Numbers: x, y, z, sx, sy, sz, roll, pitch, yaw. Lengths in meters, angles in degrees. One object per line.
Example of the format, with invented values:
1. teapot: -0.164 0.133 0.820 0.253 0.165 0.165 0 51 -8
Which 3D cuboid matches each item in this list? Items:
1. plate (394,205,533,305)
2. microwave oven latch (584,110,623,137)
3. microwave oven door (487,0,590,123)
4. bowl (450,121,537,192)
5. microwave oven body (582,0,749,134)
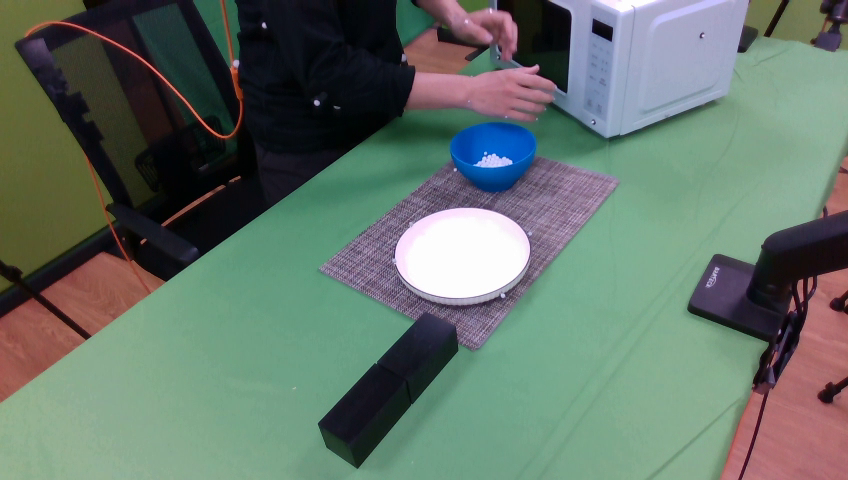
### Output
1. plate: 0.059 0.025 0.915 0.207 0.039 0.206 -4 41 4
2. microwave oven latch: 0.337 -0.222 1.142 0.030 0.029 0.078 -21 42 -15
3. microwave oven door: 0.232 -0.420 1.231 0.039 0.245 0.352 -22 43 -16
4. bowl: 0.123 -0.138 1.064 0.151 0.077 0.150 -4 40 4
5. microwave oven body: 0.382 -0.445 1.246 0.327 0.261 0.437 -22 42 -16
